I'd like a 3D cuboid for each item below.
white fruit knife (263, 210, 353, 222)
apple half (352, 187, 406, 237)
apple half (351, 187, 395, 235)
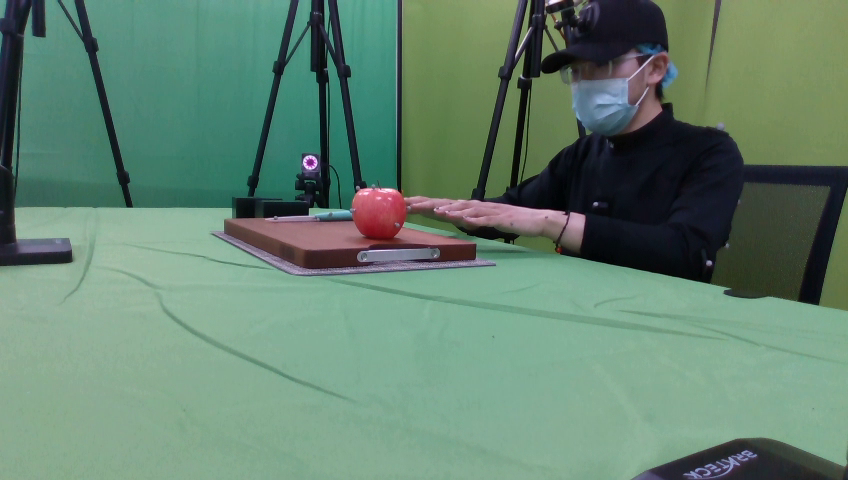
[{"bbox_3d":[-0.196,-0.042,1.100,0.208,0.016,0.027,-6,-19,-41],"label":"white fruit knife"},{"bbox_3d":[-0.059,-0.039,0.883,0.081,0.074,0.053,2,10,-39],"label":"apple half"},{"bbox_3d":[-0.083,-0.045,0.913,0.082,0.081,0.032,-3,13,-38],"label":"apple half"}]
